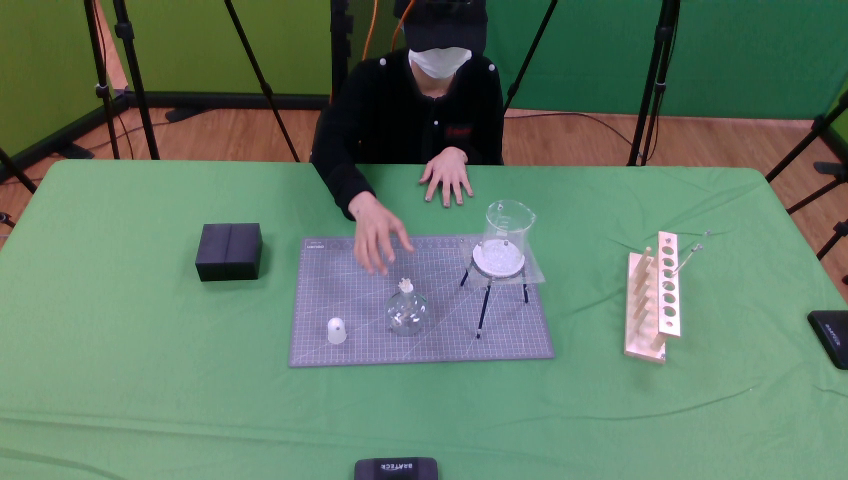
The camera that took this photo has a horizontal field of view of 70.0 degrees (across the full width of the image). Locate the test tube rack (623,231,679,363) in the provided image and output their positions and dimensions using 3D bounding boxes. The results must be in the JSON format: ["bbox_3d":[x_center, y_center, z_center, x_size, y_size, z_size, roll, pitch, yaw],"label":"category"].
[{"bbox_3d":[0.410,0.094,1.096,0.066,0.085,0.241,13,46,9],"label":"test tube rack"}]

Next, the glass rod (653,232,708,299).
[{"bbox_3d":[0.441,0.049,1.050,0.008,0.200,0.008,4,52,-5],"label":"glass rod"}]

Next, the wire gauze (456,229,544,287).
[{"bbox_3d":[0.125,0.030,1.008,0.125,0.011,0.120,-2,48,-11],"label":"wire gauze"}]

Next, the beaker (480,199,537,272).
[{"bbox_3d":[0.132,-0.004,0.973,0.084,0.101,0.073,-4,47,-9],"label":"beaker"}]

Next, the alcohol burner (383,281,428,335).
[{"bbox_3d":[-0.030,0.108,1.024,0.078,0.119,0.077,2,48,-2],"label":"alcohol burner"}]

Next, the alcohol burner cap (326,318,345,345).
[{"bbox_3d":[-0.149,0.151,1.023,0.034,0.048,0.033,3,46,-3],"label":"alcohol burner cap"}]

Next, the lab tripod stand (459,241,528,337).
[{"bbox_3d":[0.122,0.075,1.054,0.148,0.132,0.147,3,44,-3],"label":"lab tripod stand"}]
